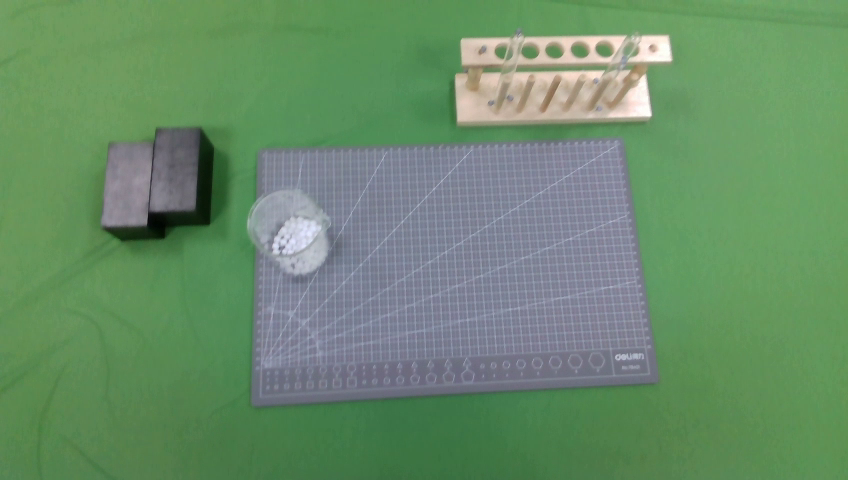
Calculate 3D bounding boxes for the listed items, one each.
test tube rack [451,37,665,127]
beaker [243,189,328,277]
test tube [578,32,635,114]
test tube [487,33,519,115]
[{"bbox_3d":[0.157,-0.189,0.733,0.242,0.085,0.066,-2,74,-3],"label":"test tube rack"},{"bbox_3d":[-0.142,-0.004,0.657,0.084,0.100,0.073,-2,74,-4],"label":"beaker"},{"bbox_3d":[0.205,-0.186,0.688,0.017,0.151,0.017,1,73,-4],"label":"test tube"},{"bbox_3d":[0.088,-0.183,0.682,0.017,0.151,0.017,0,73,-1],"label":"test tube"}]
